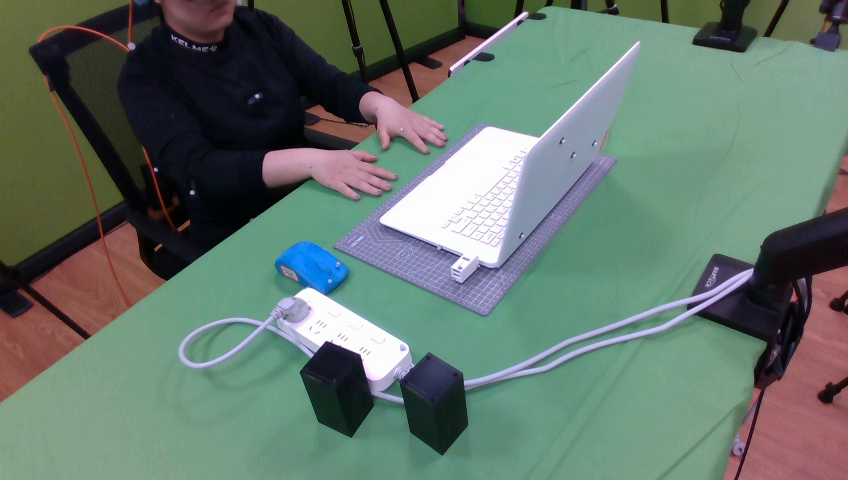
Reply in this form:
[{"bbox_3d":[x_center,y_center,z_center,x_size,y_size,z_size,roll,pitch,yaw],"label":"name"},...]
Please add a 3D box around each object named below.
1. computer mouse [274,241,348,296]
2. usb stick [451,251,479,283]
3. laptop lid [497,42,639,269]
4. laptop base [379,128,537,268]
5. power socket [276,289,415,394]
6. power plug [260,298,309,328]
[{"bbox_3d":[-0.176,0.040,0.936,0.116,0.041,0.063,27,48,27],"label":"computer mouse"},{"bbox_3d":[0.066,0.036,0.899,0.021,0.027,0.059,22,45,32],"label":"usb stick"},{"bbox_3d":[0.221,-0.130,0.912,0.013,0.242,0.357,31,51,21],"label":"laptop lid"},{"bbox_3d":[0.118,-0.088,1.058,0.233,0.023,0.355,19,47,32],"label":"laptop base"},{"bbox_3d":[-0.114,0.133,0.821,0.225,0.033,0.072,25,49,33],"label":"power socket"},{"bbox_3d":[-0.193,0.107,0.831,0.073,0.053,0.035,-31,43,-25],"label":"power plug"}]
